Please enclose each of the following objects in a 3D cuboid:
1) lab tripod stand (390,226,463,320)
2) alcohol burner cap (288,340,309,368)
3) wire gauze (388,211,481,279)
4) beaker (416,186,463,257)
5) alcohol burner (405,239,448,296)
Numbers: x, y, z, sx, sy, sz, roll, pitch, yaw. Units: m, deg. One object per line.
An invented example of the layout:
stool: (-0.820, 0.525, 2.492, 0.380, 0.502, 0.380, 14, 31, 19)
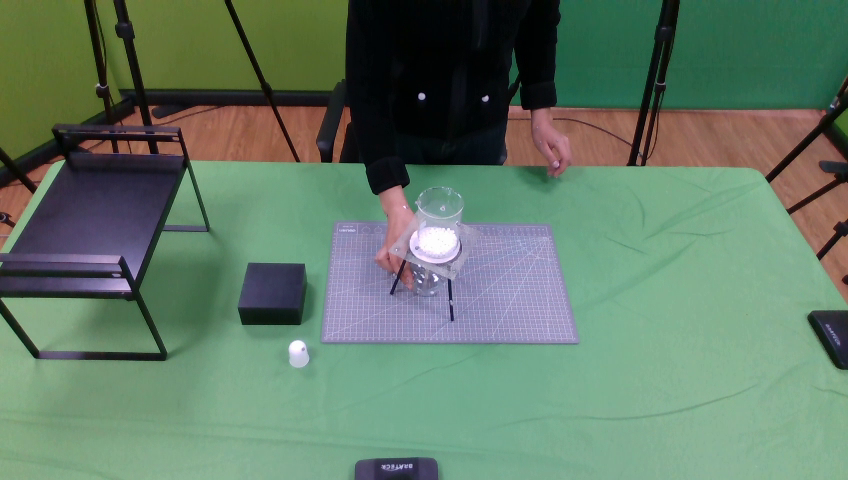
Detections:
lab tripod stand: (0.014, 0.053, 1.063, 0.148, 0.132, 0.147, 1, 48, -1)
alcohol burner cap: (-0.207, 0.183, 0.991, 0.034, 0.048, 0.033, 3, 47, -3)
wire gauze: (0.018, 0.003, 1.020, 0.125, 0.011, 0.121, 20, 47, 18)
beaker: (0.024, -0.029, 0.984, 0.074, 0.101, 0.083, 19, 48, 14)
alcohol burner: (0.005, 0.044, 1.084, 0.078, 0.120, 0.077, 0, 46, 0)
